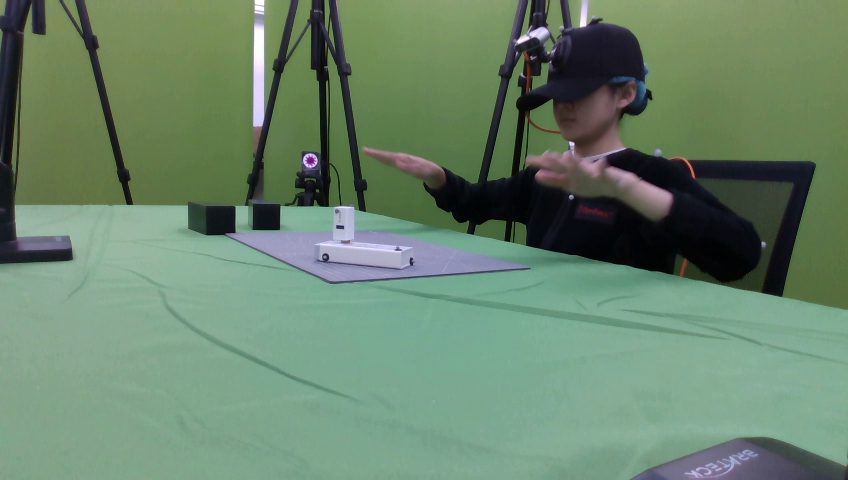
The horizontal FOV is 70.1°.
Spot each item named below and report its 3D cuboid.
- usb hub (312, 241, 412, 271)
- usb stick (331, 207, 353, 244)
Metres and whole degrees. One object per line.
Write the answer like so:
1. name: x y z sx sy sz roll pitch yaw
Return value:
1. usb hub: -0.083 0.020 0.803 0.125 0.025 0.049 5 8 17
2. usb stick: -0.110 -0.014 0.812 0.021 0.059 0.027 5 11 16
